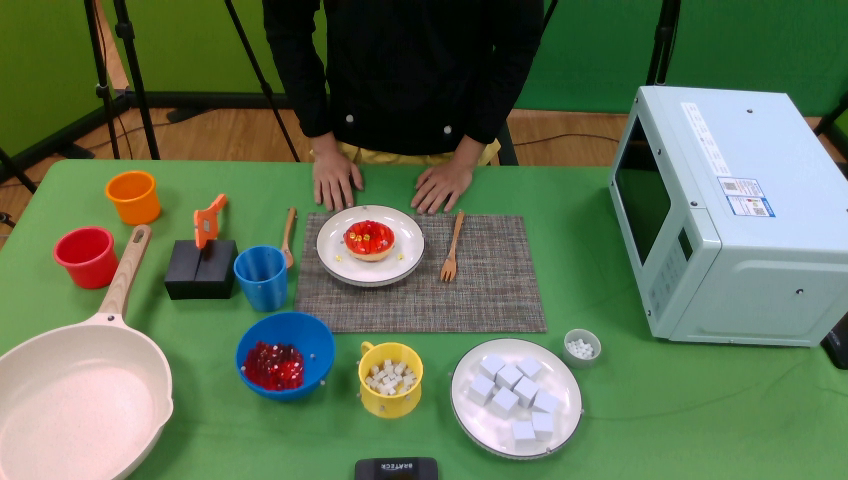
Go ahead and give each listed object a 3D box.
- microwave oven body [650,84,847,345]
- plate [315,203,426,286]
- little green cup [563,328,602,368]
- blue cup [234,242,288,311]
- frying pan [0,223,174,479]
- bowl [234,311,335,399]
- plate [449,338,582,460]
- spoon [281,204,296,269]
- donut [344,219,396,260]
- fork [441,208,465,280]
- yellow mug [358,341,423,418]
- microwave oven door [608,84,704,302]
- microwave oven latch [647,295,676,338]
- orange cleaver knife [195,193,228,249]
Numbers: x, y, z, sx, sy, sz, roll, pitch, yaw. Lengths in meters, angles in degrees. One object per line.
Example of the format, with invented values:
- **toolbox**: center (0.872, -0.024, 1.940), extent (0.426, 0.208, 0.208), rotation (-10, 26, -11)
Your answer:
- **microwave oven body**: center (0.569, -0.054, 1.115), extent (0.326, 0.261, 0.439), rotation (2, 46, -1)
- **plate**: center (-0.101, 0.012, 1.159), extent (0.209, 0.038, 0.208), rotation (2, 46, -2)
- **little green cup**: center (0.265, 0.184, 1.025), extent (0.061, 0.039, 0.061), rotation (2, 45, -2)
- **blue cup**: center (-0.276, 0.072, 1.052), extent (0.093, 0.101, 0.092), rotation (1, 48, -1)
- **frying pan**: center (-0.505, 0.169, 0.941), extent (0.307, 0.103, 0.485), rotation (5, 54, -1)
- **bowl**: center (-0.214, 0.194, 0.956), extent (0.151, 0.077, 0.150), rotation (2, 46, -2)
- **plate**: center (0.141, 0.251, 0.955), extent (0.208, 0.039, 0.206), rotation (2, 46, -2)
- **spoon**: center (-0.266, -0.008, 1.182), extent (0.041, 0.022, 0.192), rotation (-14, 46, 12)
- **donut**: center (-0.102, -0.003, 1.157), extent (0.099, 0.048, 0.098), rotation (3, 43, -2)
- **fork**: center (0.061, 0.005, 1.190), extent (0.028, 0.019, 0.206), rotation (2, 47, 14)
- **yellow mug**: center (-0.063, 0.210, 0.960), extent (0.100, 0.064, 0.130), rotation (-29, 54, -28)
- **microwave oven door**: center (0.424, -0.096, 1.138), extent (0.039, 0.245, 0.353), rotation (3, 46, -1)
- **microwave oven latch**: center (0.413, 0.133, 1.060), extent (0.030, 0.029, 0.078), rotation (4, 46, 1)
- **orange cleaver knife**: center (-0.406, -0.041, 1.163), extent (0.012, 0.077, 0.210), rotation (0, 18, -3)
